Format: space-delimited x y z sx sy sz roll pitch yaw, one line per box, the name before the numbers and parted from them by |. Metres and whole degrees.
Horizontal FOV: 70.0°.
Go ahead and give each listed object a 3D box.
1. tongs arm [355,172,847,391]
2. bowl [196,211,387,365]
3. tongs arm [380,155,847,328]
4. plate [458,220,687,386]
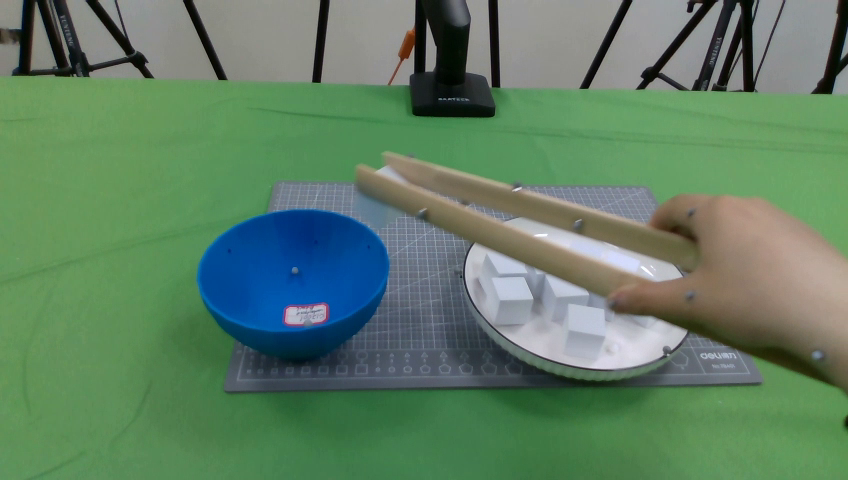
tongs arm | 0.110 0.019 0.387 0.385 0.028 0.028 21 38 26
bowl | -0.106 0.050 0.508 0.151 0.077 0.150 3 38 -2
tongs arm | 0.123 0.007 0.402 0.382 0.027 0.050 18 40 23
plate | 0.134 0.055 0.558 0.208 0.039 0.205 3 39 -2
